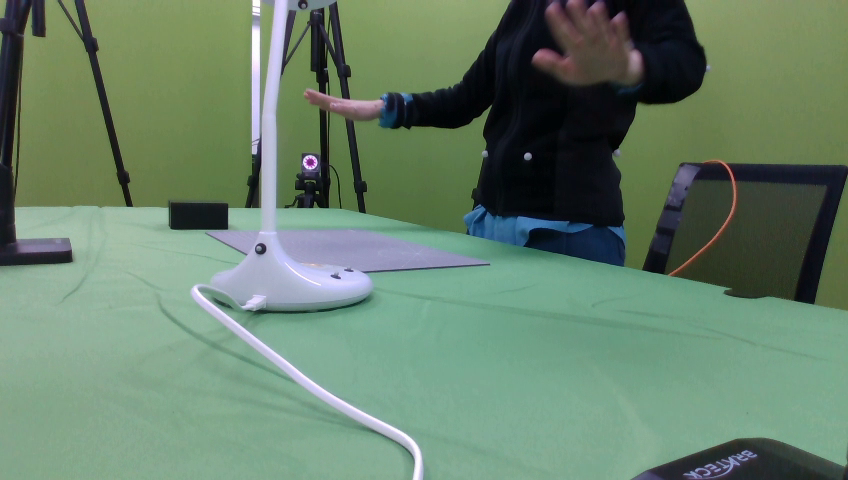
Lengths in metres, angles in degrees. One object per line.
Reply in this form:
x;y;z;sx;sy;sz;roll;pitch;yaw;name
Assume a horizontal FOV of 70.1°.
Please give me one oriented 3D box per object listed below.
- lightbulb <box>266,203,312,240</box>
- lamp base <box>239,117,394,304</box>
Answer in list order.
-0.224;-0.026;1.032;0.059;0.059;0.108;8;25;38;lightbulb
-0.106;-0.034;0.619;0.161;0.180;0.178;0;10;-17;lamp base
